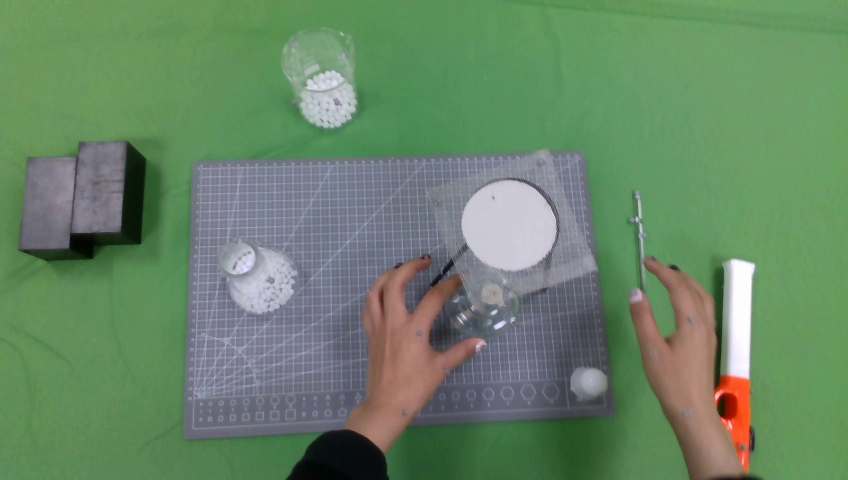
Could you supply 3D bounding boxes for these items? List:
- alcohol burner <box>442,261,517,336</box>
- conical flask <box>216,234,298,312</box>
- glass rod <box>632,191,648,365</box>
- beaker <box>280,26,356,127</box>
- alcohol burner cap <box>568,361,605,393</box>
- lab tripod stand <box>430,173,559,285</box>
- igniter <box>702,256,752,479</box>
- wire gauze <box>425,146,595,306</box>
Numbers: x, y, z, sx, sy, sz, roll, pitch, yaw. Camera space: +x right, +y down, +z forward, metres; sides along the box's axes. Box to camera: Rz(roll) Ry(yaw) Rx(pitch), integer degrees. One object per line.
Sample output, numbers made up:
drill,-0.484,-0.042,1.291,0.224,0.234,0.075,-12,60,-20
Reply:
alcohol burner,0.059,0.057,0.612,0.078,0.119,0.077,1,77,-5
conical flask,-0.170,0.028,0.600,0.075,0.122,0.075,1,77,-3
glass rod,0.243,0.040,0.683,0.008,0.008,0.198,2,76,-3
beaker,-0.110,-0.176,0.666,0.084,0.100,0.074,-43,83,-12
alcohol burner cap,0.173,0.143,0.636,0.034,0.048,0.033,0,77,-2
lab tripod stand,0.074,-0.001,0.616,0.148,0.132,0.147,1,79,-3
igniter,0.329,0.152,0.653,0.057,0.025,0.275,12,76,-11
wire gauze,0.078,-0.014,0.550,0.125,0.011,0.121,-18,79,-7
